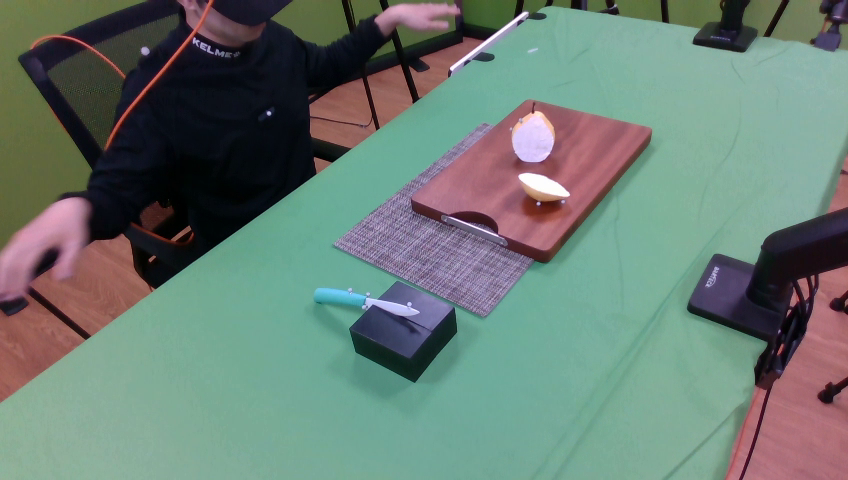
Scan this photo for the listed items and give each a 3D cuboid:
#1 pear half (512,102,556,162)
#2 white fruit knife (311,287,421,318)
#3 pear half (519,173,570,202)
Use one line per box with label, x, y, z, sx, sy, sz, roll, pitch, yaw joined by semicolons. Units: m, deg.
pear half;0.193;-0.197;1.060;0.076;0.110;0.056;3;41;6
white fruit knife;-0.084;0.086;0.831;0.206;0.027;0.016;5;31;38
pear half;0.193;-0.080;0.981;0.087;0.031;0.071;34;38;22
